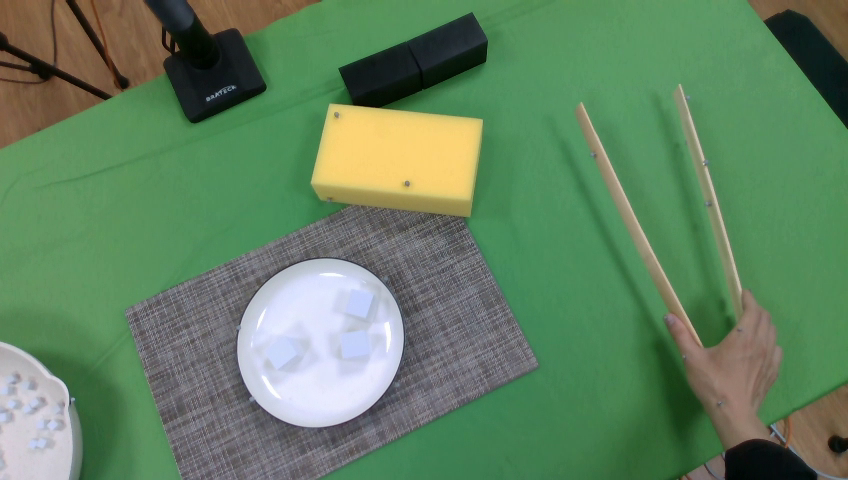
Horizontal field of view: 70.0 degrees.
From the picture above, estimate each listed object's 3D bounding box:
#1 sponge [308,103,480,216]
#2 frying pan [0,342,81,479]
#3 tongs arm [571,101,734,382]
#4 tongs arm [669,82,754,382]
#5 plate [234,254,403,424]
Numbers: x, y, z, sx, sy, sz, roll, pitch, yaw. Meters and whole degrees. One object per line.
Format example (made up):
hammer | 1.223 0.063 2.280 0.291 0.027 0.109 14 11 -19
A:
sponge | -0.035 -0.106 0.800 0.206 0.061 0.117 6 73 6
frying pan | -0.486 0.341 0.675 0.307 0.103 0.483 -34 67 -6
tongs arm | 0.270 -0.005 0.745 0.028 0.028 0.385 -19 75 -14
tongs arm | 0.344 -0.021 0.755 0.051 0.026 0.382 -8 74 -8
plate | -0.128 0.121 0.751 0.207 0.039 0.206 -1 74 3
